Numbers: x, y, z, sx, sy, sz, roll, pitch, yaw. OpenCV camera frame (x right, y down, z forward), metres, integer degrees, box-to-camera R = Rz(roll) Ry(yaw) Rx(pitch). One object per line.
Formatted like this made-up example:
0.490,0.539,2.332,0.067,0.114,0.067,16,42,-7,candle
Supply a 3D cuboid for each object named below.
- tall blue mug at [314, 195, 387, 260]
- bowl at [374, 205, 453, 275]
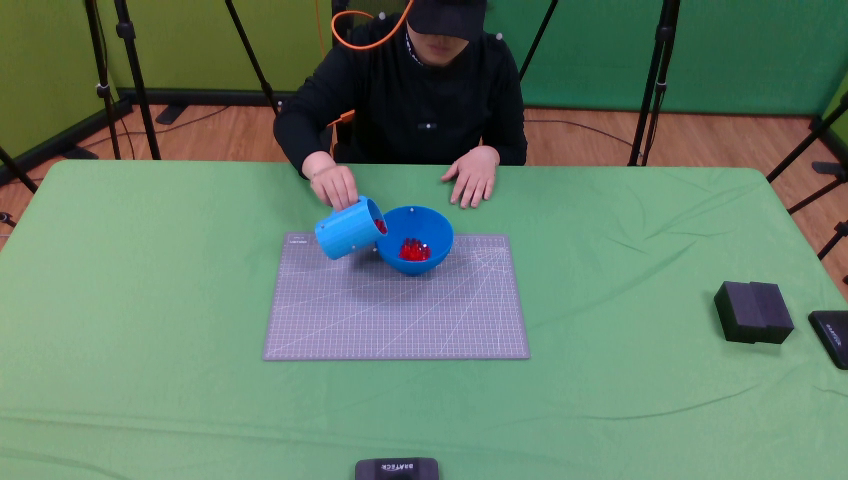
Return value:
-0.136,-0.033,1.088,0.108,0.078,0.107,-24,74,13,tall blue mug
-0.022,0.013,1.143,0.151,0.077,0.150,2,46,-2,bowl
